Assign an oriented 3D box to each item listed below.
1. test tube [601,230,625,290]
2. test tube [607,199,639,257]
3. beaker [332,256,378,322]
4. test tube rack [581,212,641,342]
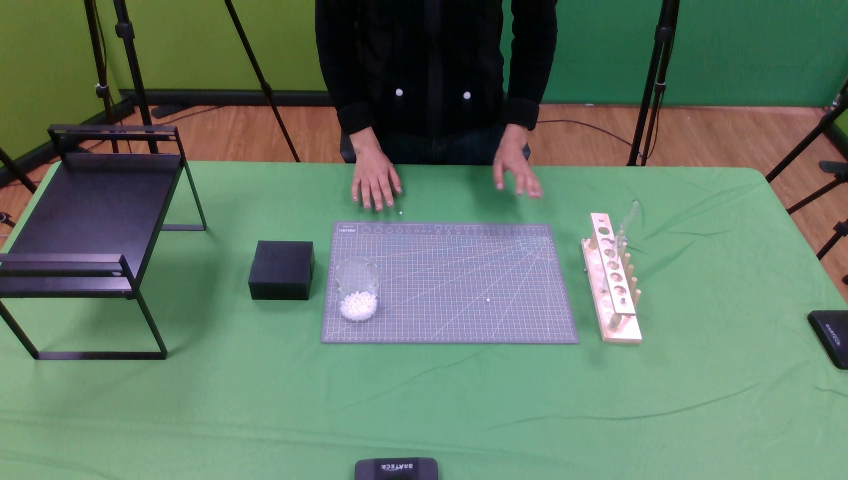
[{"bbox_3d":[0.333,0.039,1.074,0.017,0.151,0.017,-1,47,2],"label":"test tube"},{"bbox_3d":[0.374,-0.020,1.140,0.017,0.151,0.017,3,47,-3],"label":"test tube"},{"bbox_3d":[-0.114,0.089,1.047,0.083,0.101,0.074,30,52,21],"label":"beaker"},{"bbox_3d":[0.351,0.063,1.121,0.067,0.085,0.241,3,46,-1],"label":"test tube rack"}]
